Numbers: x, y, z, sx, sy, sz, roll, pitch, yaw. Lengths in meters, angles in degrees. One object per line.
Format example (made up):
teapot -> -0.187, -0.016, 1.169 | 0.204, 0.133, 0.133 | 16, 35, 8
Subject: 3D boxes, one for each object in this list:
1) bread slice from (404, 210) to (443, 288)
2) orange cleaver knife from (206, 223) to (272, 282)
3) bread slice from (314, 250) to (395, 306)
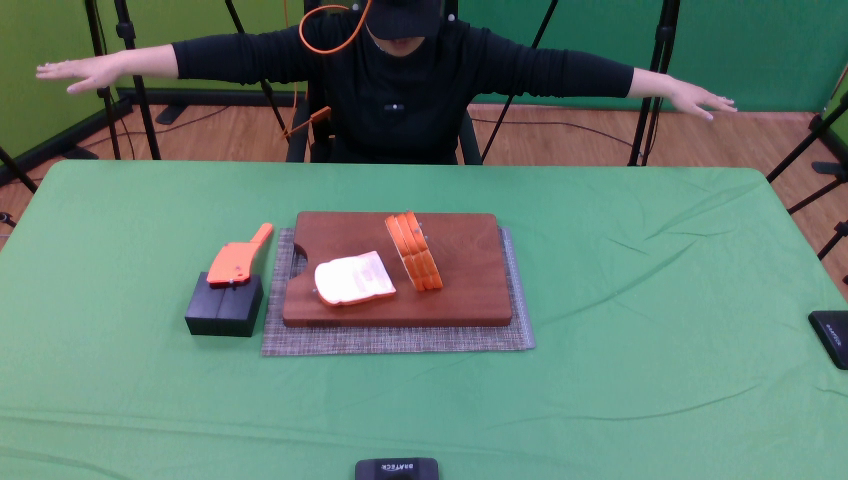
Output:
bread slice -> -0.003, 0.013, 1.072 | 0.018, 0.135, 0.106 | -23, 50, -2
orange cleaver knife -> -0.337, 0.020, 1.122 | 0.077, 0.012, 0.210 | 3, 29, 3
bread slice -> -0.130, 0.070, 1.077 | 0.132, 0.019, 0.104 | -11, 49, -20
